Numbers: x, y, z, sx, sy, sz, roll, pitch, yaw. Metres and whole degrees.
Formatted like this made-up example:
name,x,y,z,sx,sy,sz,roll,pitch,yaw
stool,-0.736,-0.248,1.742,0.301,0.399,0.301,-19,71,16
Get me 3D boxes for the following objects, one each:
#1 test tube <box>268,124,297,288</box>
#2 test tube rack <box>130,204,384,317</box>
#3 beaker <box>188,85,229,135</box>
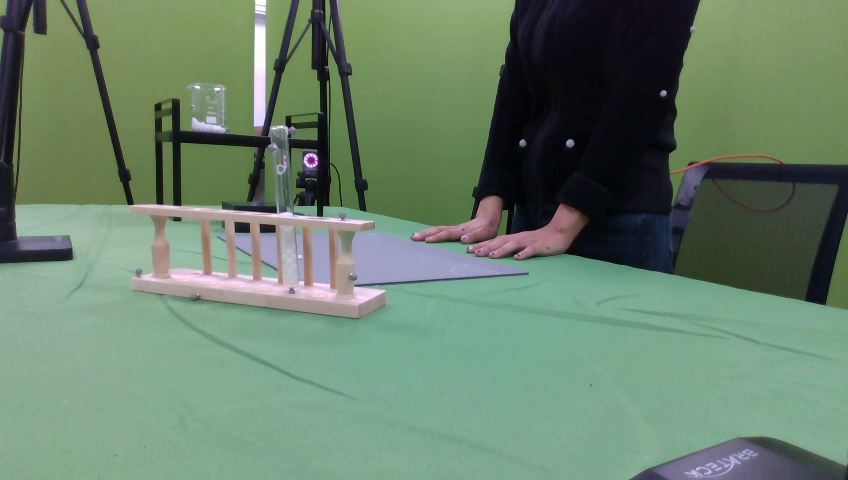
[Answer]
name,x,y,z,sx,sy,sz,roll,pitch,yaw
test tube,-0.130,-0.030,0.557,0.017,0.150,0.017,-3,5,1
test tube rack,-0.163,0.013,0.589,0.242,0.085,0.067,5,8,17
beaker,-0.457,-0.275,1.283,0.084,0.100,0.073,-5,9,-40
